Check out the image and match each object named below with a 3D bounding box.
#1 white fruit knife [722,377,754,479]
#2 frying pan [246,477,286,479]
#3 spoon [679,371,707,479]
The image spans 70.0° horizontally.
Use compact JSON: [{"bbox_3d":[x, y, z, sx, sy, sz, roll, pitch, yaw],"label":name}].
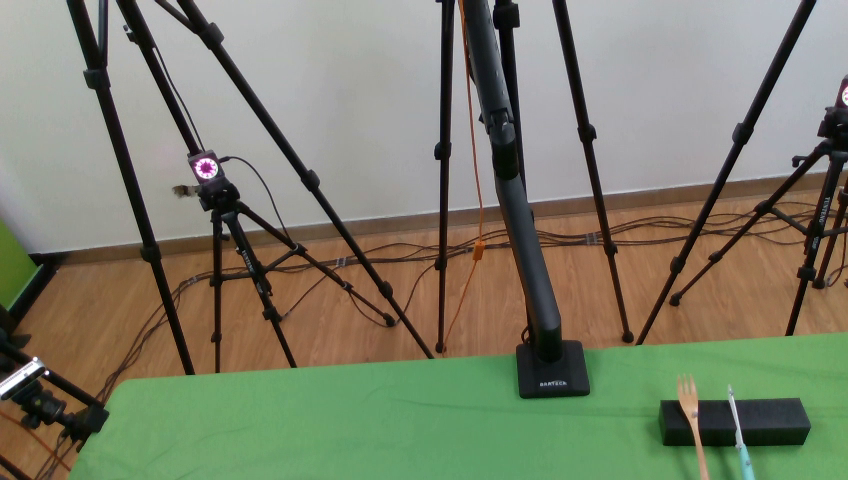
[{"bbox_3d":[0.455,0.297,0.878,0.016,0.028,0.205,-1,56,7],"label":"white fruit knife"},{"bbox_3d":[-0.261,0.540,0.763,0.306,0.103,0.484,-5,32,10],"label":"frying pan"},{"bbox_3d":[0.401,0.289,0.892,0.041,0.022,0.192,-12,57,35],"label":"spoon"}]
